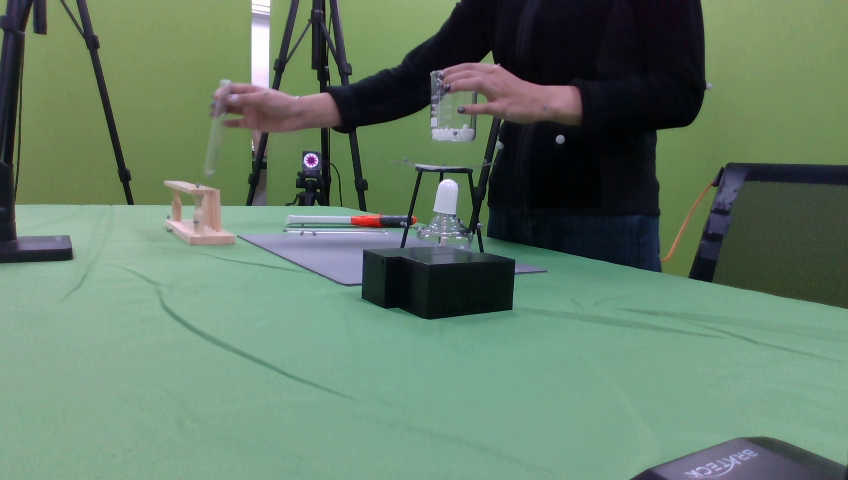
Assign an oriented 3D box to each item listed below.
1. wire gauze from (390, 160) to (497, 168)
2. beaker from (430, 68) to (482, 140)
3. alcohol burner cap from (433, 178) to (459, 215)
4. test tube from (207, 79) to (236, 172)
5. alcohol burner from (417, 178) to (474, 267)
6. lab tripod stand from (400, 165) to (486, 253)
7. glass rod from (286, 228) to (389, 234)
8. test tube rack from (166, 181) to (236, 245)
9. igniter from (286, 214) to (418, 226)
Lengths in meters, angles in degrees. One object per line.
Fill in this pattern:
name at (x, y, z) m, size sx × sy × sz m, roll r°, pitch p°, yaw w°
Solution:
wire gauze at (0.027, -0.115, 0.919) m, size 0.122 × 0.011 × 0.124 m, roll -4°, pitch 10°, yaw -34°
beaker at (0.044, -0.201, 0.907) m, size 0.074 × 0.100 × 0.083 m, roll -6°, pitch 10°, yaw -41°
alcohol burner cap at (0.031, -0.059, 0.806) m, size 0.034 × 0.048 × 0.034 m, roll 8°, pitch 10°, yaw -1°
test tube at (-0.321, -0.180, 0.956) m, size 0.017 × 0.150 × 0.017 m, roll 13°, pitch 2°, yaw 0°
alcohol burner at (0.029, -0.024, 0.810) m, size 0.078 × 0.119 × 0.078 m, roll 1°, pitch 8°, yaw 0°
lab tripod stand at (0.027, -0.049, 0.930) m, size 0.148 × 0.131 × 0.148 m, roll 2°, pitch 9°, yaw 0°
glass rod at (-0.154, -0.016, 1.101) m, size 0.201 × 0.008 × 0.008 m, roll 1°, pitch 6°, yaw -31°
test tube rack at (-0.383, -0.051, 1.024) m, size 0.067 × 0.085 × 0.241 m, roll -2°, pitch 9°, yaw -31°
igniter at (-0.146, -0.043, 1.263) m, size 0.278 × 0.025 × 0.057 m, roll -1°, pitch -2°, yaw -24°
